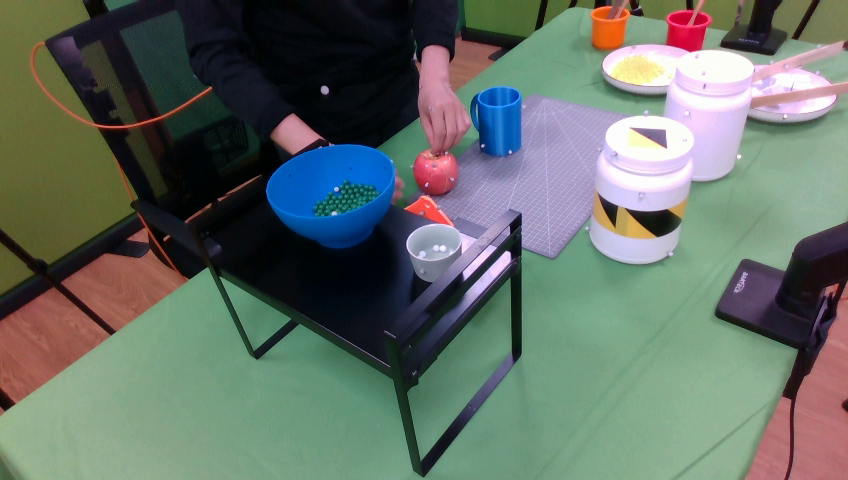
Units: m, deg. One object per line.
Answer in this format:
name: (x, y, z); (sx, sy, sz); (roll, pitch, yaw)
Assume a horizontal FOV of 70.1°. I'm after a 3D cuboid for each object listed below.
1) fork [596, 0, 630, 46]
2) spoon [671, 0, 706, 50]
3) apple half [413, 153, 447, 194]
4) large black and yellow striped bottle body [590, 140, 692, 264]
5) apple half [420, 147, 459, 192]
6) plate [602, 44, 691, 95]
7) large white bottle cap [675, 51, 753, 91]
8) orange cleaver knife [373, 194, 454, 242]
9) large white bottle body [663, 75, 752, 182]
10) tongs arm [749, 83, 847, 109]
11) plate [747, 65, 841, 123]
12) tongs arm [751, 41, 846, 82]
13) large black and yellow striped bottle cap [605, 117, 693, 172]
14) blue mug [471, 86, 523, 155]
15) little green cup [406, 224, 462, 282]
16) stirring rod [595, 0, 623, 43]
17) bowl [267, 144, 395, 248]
fork: (0.481, -0.556, 1.452); (0.028, 0.019, 0.207); (40, 103, 41)
spoon: (0.629, -0.520, 1.394); (0.041, 0.022, 0.193); (30, 96, 34)
apple half: (0.004, -0.110, 1.060); (0.033, 0.081, 0.080); (-32, 46, -33)
large black and yellow striped bottle body: (0.317, -0.071, 0.889); (0.131, 0.185, 0.130); (-4, 41, 4)
apple half: (0.032, -0.129, 1.081); (0.053, 0.075, 0.080); (-33, 40, -32)
plate: (0.495, -0.367, 1.317); (0.209, 0.038, 0.208); (-4, 40, 4)
large white bottle cap: (0.463, -0.271, 0.967); (0.115, 0.018, 0.114); (-4, 40, 3)
orange cleaver knife: (-0.032, -0.026, 0.964); (0.210, 0.077, 0.012); (-10, 29, 51)
large white bottle body: (0.472, -0.207, 1.022); (0.130, 0.185, 0.130); (-4, 41, 4)
tongs arm: (0.734, -0.280, 1.134); (0.388, 0.028, 0.028); (-9, 47, -5)
plate: (0.694, -0.283, 1.189); (0.207, 0.039, 0.206); (-4, 40, 4)
tongs arm: (0.708, -0.331, 1.194); (0.386, 0.026, 0.050); (-18, 45, -16)
large black and yellow striped bottle cap: (0.309, -0.134, 0.833); (0.115, 0.019, 0.114); (-5, 40, 5)
blue mug: (0.135, -0.235, 1.163); (0.082, 0.106, 0.115); (-36, 48, -28)
little green cup: (0.012, 0.015, 0.668); (0.061, 0.039, 0.061); (-4, 40, 4)
stirring rod: (0.460, -0.556, 1.460); (0.014, 0.006, 0.176); (30, 93, 23)
bowl: (-0.104, -0.043, 0.726); (0.151, 0.077, 0.150); (-4, 40, 4)
